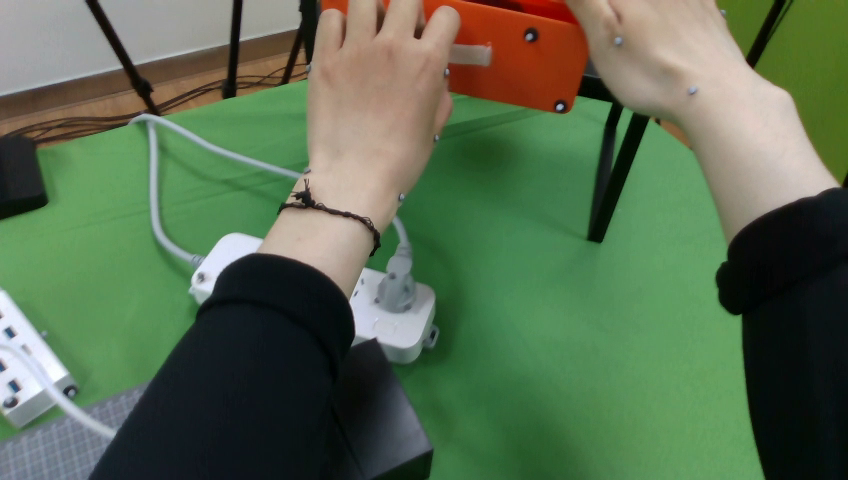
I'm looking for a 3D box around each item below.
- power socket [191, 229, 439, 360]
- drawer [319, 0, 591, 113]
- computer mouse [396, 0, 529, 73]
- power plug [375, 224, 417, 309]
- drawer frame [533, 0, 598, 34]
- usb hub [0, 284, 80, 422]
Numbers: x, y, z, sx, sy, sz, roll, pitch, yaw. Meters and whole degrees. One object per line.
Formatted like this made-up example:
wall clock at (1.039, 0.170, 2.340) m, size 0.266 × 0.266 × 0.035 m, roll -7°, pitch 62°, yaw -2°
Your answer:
power socket at (-0.096, 0.046, 0.538) m, size 0.226 × 0.033 × 0.071 m, roll 15°, pitch 48°, yaw 10°
drawer at (0.041, -0.208, 0.506) m, size 0.194 × 0.074 × 0.210 m, roll 13°, pitch 47°, yaw 7°
computer mouse at (0.031, -0.182, 0.497) m, size 0.063 × 0.041 × 0.116 m, roll -27°, pitch 60°, yaw -29°
power plug at (-0.015, 0.030, 0.529) m, size 0.035 × 0.053 × 0.072 m, roll 23°, pitch 52°, yaw 17°
drawer frame at (0.047, -0.230, 0.522) m, size 0.201 × 0.083 × 0.212 m, roll 12°, pitch 48°, yaw 7°
usb hub at (-0.335, 0.087, 0.487) m, size 0.124 × 0.025 × 0.049 m, roll 35°, pitch 55°, yaw 25°
